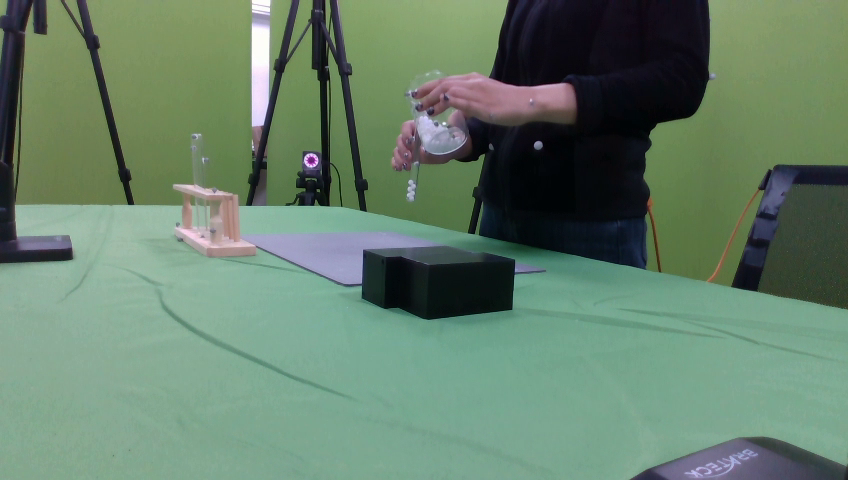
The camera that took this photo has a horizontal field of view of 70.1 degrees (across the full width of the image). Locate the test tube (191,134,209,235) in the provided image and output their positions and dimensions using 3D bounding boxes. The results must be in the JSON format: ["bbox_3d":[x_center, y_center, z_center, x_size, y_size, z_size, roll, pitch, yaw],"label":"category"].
[{"bbox_3d":[-0.332,-0.082,0.897,0.017,0.150,0.017,-2,6,0],"label":"test tube"}]

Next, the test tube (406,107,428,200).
[{"bbox_3d":[-0.013,-0.134,0.949,0.017,0.150,0.017,8,21,-3],"label":"test tube"}]

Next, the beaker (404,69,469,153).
[{"bbox_3d":[0.019,-0.182,0.874,0.074,0.100,0.084,-7,-24,-23],"label":"beaker"}]

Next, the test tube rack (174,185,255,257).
[{"bbox_3d":[-0.324,-0.035,0.922,0.067,0.085,0.241,-2,9,-32],"label":"test tube rack"}]
